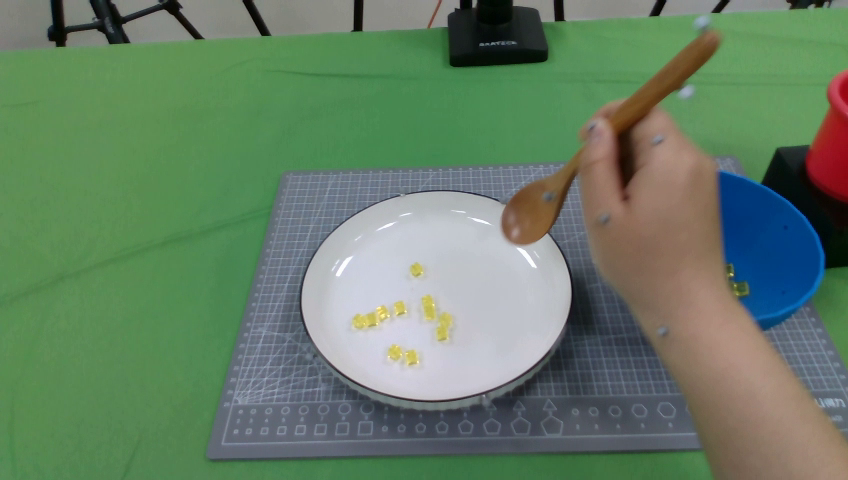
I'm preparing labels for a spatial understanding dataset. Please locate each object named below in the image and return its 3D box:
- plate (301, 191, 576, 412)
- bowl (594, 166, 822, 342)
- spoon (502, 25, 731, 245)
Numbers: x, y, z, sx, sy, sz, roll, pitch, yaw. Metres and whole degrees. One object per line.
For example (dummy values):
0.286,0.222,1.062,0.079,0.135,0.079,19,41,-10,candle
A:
0.011,0.044,0.473,0.207,0.039,0.205,-2,47,2,plate
0.198,0.023,0.452,0.151,0.077,0.150,-2,47,2,bowl
0.095,-0.049,0.343,0.022,0.194,0.041,1,65,-20,spoon
